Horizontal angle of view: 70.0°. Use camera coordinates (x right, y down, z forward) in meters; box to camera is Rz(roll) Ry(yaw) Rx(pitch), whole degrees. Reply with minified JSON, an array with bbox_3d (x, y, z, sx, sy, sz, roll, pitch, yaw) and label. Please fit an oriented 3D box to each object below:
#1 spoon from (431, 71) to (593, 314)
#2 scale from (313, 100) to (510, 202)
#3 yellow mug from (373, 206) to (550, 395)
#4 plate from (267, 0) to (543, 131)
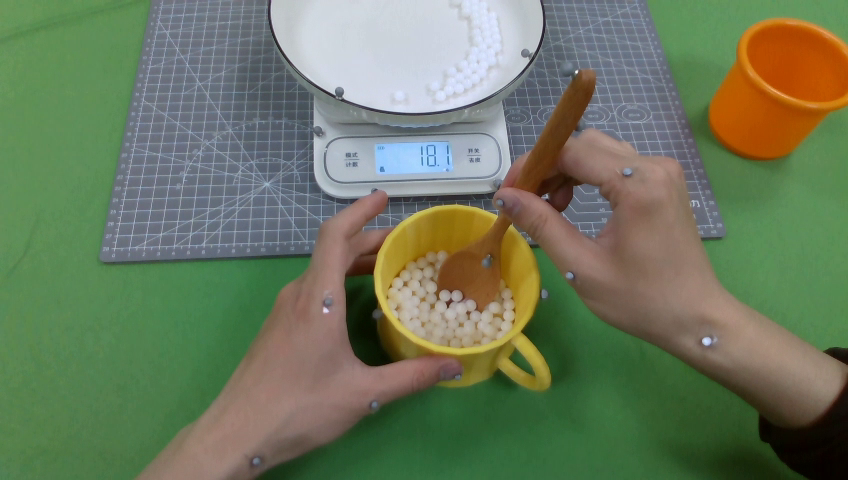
[{"bbox_3d":[0.046,-0.014,0.339,0.041,0.195,0.021,31,52,4],"label":"spoon"},{"bbox_3d":[-0.014,-0.122,0.486,0.149,0.032,0.199,-3,62,-4],"label":"scale"},{"bbox_3d":[0.029,0.047,0.381,0.100,0.064,0.130,-40,72,-20],"label":"yellow mug"},{"bbox_3d":[-0.014,-0.164,0.471,0.209,0.038,0.207,2,62,-3],"label":"plate"}]
